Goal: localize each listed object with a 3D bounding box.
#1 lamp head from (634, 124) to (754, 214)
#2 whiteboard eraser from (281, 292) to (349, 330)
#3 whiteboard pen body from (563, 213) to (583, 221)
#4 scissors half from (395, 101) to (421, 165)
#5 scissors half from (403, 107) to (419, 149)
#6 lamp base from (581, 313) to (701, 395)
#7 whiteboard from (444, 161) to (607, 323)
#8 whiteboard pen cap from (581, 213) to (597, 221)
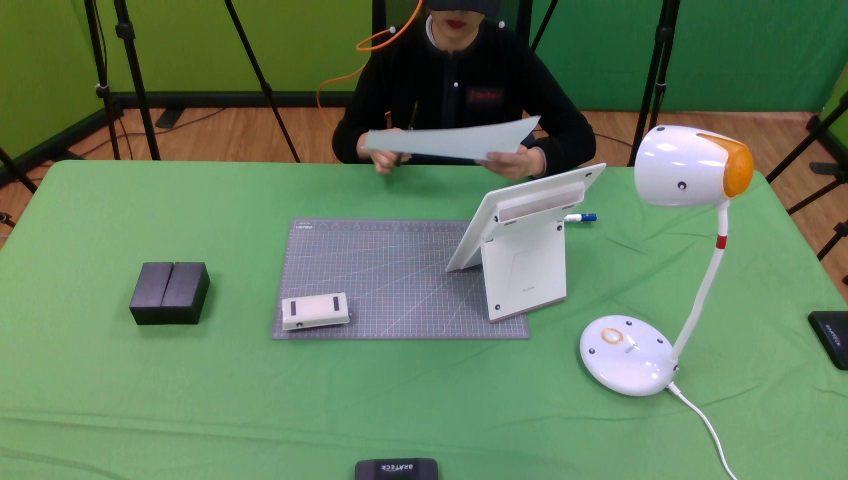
[{"bbox_3d":[0.351,-0.089,0.775,0.112,0.113,0.122,-30,30,-28],"label":"lamp head"},{"bbox_3d":[-0.189,0.124,1.045,0.113,0.042,0.055,-6,46,-10],"label":"whiteboard eraser"},{"bbox_3d":[0.283,-0.047,1.257,0.141,0.017,0.017,-1,46,-2],"label":"whiteboard pen body"},{"bbox_3d":[-0.032,-0.215,1.240,0.013,0.176,0.040,19,47,-6],"label":"scissors half"},{"bbox_3d":[-0.025,-0.233,1.250,0.013,0.175,0.040,24,72,-3],"label":"scissors half"},{"bbox_3d":[0.361,0.144,0.973,0.178,0.181,0.160,34,53,23],"label":"lamp base"},{"bbox_3d":[0.186,0.025,1.029,0.217,0.306,0.143,-14,68,-18],"label":"whiteboard"},{"bbox_3d":[0.342,-0.048,1.260,0.033,0.018,0.018,-2,46,-3],"label":"whiteboard pen cap"}]
